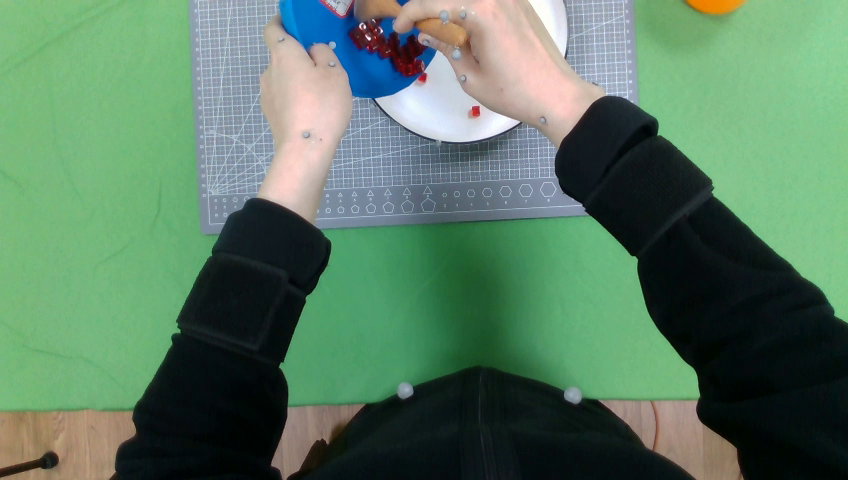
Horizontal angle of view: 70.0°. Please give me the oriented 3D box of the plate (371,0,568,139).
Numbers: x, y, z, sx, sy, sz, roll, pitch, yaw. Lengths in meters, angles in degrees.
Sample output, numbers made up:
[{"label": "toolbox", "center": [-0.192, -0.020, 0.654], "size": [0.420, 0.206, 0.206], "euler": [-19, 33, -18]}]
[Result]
[{"label": "plate", "center": [0.035, -0.201, 0.594], "size": [0.209, 0.038, 0.209], "euler": [0, 91, 3]}]

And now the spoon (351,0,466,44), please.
[{"label": "spoon", "center": [-0.015, -0.169, 0.443], "size": [0.022, 0.191, 0.041], "euler": [21, 105, -39]}]

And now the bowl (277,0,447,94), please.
[{"label": "bowl", "center": [-0.062, -0.202, 0.498], "size": [0.076, 0.153, 0.151], "euler": [29, 93, 45]}]
